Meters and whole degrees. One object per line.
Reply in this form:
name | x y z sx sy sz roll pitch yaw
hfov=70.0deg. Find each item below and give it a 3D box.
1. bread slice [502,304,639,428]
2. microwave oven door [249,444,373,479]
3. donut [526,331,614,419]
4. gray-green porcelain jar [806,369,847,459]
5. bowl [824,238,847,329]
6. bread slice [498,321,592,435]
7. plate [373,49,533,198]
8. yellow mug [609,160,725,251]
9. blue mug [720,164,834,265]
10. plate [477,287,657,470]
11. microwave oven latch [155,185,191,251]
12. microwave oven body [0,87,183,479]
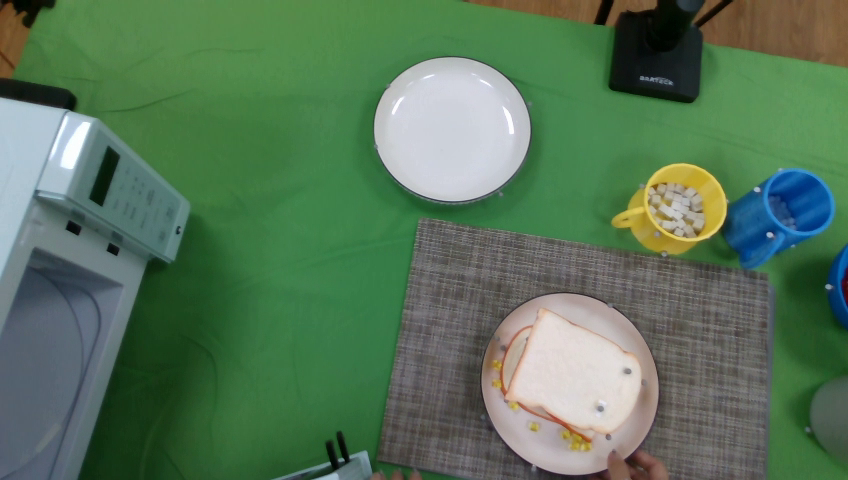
bread slice | 0.165 0.141 0.660 0.134 0.018 0.106 21 83 -1
microwave oven door | -0.232 0.266 0.564 0.356 0.245 0.039 -16 75 -5
donut | 0.165 0.154 0.688 0.099 0.048 0.098 0 75 -1
gray-green porcelain jar | 0.501 0.194 0.668 0.106 0.127 0.105 0 75 0
bowl | 0.546 0.061 0.727 0.151 0.077 0.150 0 75 0
bread slice | 0.154 0.157 0.717 0.131 0.019 0.104 23 76 5
plate | 0.037 -0.151 0.799 0.208 0.039 0.206 0 75 0
yellow mug | 0.298 -0.039 0.758 0.131 0.064 0.099 -11 75 -2
blue mug | 0.416 -0.021 0.734 0.082 0.106 0.116 30 77 8
plate | 0.166 0.160 0.715 0.209 0.038 0.208 0 75 -1
microwave oven latch | -0.312 -0.029 0.744 0.030 0.029 0.079 14 76 3
microwave oven body | -0.494 0.084 0.614 0.326 0.261 0.439 12 76 2
